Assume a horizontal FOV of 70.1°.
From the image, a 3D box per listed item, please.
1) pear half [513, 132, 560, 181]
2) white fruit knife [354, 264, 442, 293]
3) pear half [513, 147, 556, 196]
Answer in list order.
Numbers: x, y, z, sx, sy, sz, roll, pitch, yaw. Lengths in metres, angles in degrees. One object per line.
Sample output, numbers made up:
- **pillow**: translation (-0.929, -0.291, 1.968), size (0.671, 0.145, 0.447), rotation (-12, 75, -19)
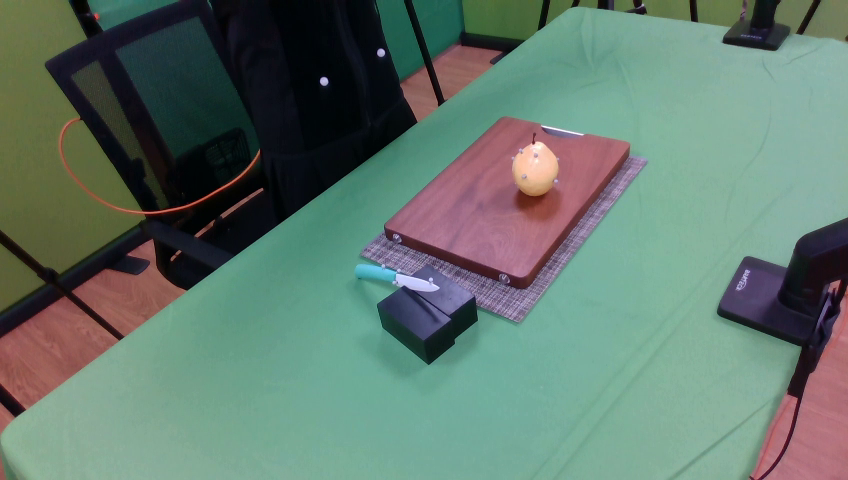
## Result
- **pear half**: translation (0.186, -0.136, 0.996), size (0.076, 0.110, 0.056), rotation (6, 42, 13)
- **white fruit knife**: translation (-0.041, 0.055, 0.867), size (0.016, 0.027, 0.205), rotation (-31, 23, -34)
- **pear half**: translation (0.178, -0.106, 0.977), size (0.070, 0.088, 0.031), rotation (7, 43, 12)
